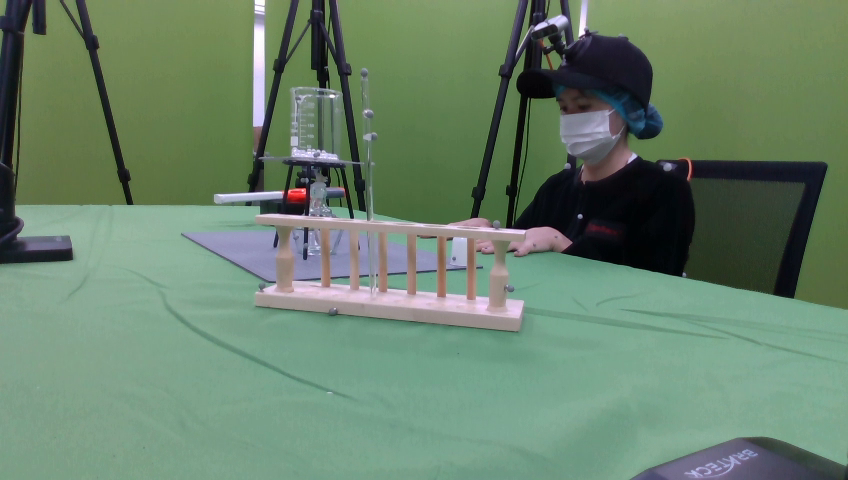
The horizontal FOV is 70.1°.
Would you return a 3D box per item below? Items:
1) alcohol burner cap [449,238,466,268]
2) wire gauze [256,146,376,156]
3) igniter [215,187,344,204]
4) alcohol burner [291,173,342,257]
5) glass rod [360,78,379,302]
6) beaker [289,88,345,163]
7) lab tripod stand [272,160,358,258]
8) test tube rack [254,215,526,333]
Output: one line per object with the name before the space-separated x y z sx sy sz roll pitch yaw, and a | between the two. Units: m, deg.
alcohol burner cap | 0.051 0.015 0.827 0.034 0.048 0.034 2 4 0
wire gauze | -0.155 -0.128 0.871 0.124 0.011 0.122 2 7 36
igniter | -0.289 -0.093 1.255 0.278 0.025 0.057 -6 12 -34
alcohol burner | -0.155 -0.037 0.870 0.078 0.119 0.078 1 6 0
glass rod | -0.047 -0.038 0.526 0.008 0.199 0.008 -2 14 1
beaker | -0.157 -0.160 0.862 0.083 0.100 0.074 7 7 34
lab tripod stand | -0.159 -0.048 0.876 0.148 0.131 0.148 3 5 0
test tube rack | -0.030 0.025 0.557 0.242 0.085 0.067 4 7 12
